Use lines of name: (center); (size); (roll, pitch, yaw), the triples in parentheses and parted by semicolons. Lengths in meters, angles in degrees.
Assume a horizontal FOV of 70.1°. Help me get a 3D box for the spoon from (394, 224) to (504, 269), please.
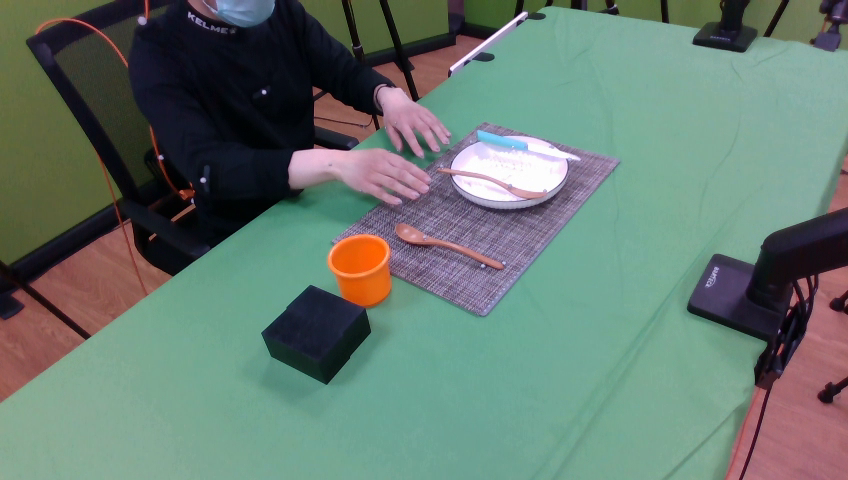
spoon: (0.037, 0.010, 0.945); (0.192, 0.022, 0.042); (18, 29, 26)

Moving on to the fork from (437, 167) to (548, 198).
fork: (0.110, -0.099, 1.018); (0.206, 0.019, 0.028); (20, 38, 26)

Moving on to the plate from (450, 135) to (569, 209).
plate: (0.149, -0.117, 1.065); (0.209, 0.038, 0.208); (-3, 41, 3)

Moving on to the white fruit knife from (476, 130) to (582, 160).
white fruit knife: (0.184, -0.170, 1.089); (0.206, 0.016, 0.027); (18, 43, 25)
